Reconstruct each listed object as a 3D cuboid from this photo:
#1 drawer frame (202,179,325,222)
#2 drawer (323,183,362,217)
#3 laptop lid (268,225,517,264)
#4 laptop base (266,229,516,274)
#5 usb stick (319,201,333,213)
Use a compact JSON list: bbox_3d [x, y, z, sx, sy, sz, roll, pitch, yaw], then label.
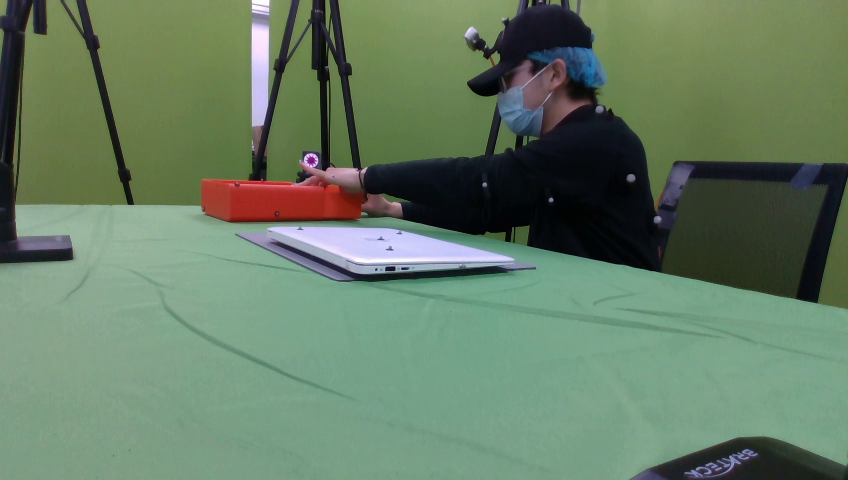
[{"bbox_3d":[-0.361,-0.093,1.356,0.215,0.082,0.200,-4,10,-37],"label":"drawer frame"},{"bbox_3d":[-0.283,-0.095,1.416,0.213,0.073,0.193,-3,10,-37],"label":"drawer"},{"bbox_3d":[-0.063,0.002,0.877,0.243,0.013,0.355,1,7,-30],"label":"laptop lid"},{"bbox_3d":[-0.065,0.014,0.877,0.237,0.023,0.352,2,6,-32],"label":"laptop base"},{"bbox_3d":[-0.234,-0.077,1.426,0.021,0.027,0.059,-3,-5,-28],"label":"usb stick"}]
